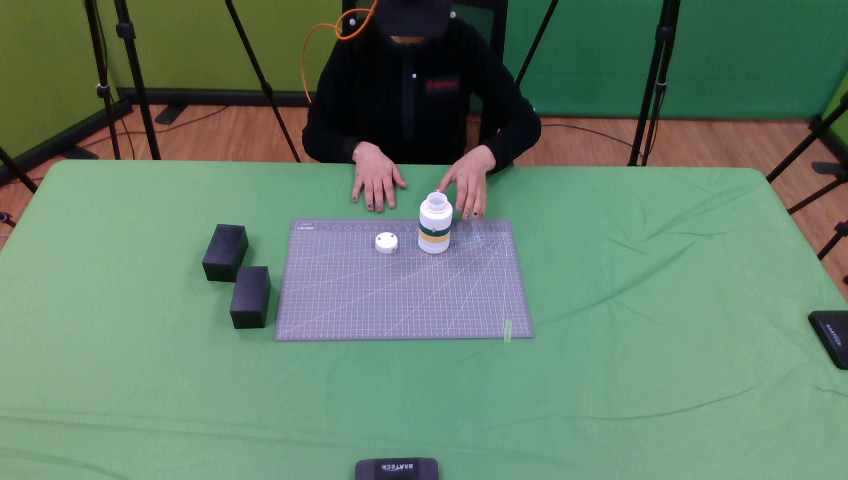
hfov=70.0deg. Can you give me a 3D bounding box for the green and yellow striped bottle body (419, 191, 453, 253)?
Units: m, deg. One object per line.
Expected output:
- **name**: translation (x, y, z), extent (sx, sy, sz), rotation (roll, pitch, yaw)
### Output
- **green and yellow striped bottle body**: translation (0.022, -0.036, 1.160), extent (0.063, 0.120, 0.063), rotation (2, 46, -2)

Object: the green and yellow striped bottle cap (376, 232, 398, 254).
- **green and yellow striped bottle cap**: translation (-0.073, 0.006, 1.187), extent (0.045, 0.020, 0.045), rotation (2, 44, -2)
